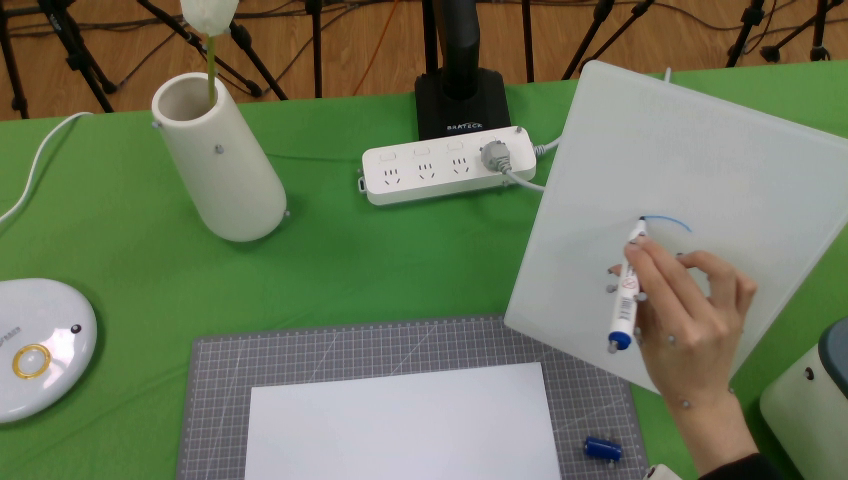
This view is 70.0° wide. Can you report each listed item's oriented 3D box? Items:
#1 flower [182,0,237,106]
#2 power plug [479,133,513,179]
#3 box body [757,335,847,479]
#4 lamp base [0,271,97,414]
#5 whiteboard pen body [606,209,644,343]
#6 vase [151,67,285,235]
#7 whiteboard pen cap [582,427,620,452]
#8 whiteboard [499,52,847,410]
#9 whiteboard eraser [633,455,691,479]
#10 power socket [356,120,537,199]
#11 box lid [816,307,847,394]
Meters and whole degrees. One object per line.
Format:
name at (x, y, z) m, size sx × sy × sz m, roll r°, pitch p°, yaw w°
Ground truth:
flower at (-0.199, -0.123, 0.573) m, size 0.038 × 0.363 × 0.044 m, roll 44°, pitch 60°, yaw 5°
power plug at (0.083, -0.093, 0.711) m, size 0.035 × 0.053 × 0.072 m, roll 0°, pitch 67°, yaw 2°
box body at (0.490, 0.207, 0.480) m, size 0.254 × 0.162 × 0.360 m, roll -21°, pitch 62°, yaw -10°
lamp base at (-0.444, 0.062, 0.581) m, size 0.178 × 0.182 × 0.160 m, roll 25°, pitch 64°, yaw 18°
whiteboard pen body at (0.155, 0.021, 0.459) m, size 0.017 × 0.017 × 0.140 m, roll 17°, pitch 47°, yaw 12°
vase at (-0.217, -0.088, 0.648) m, size 0.098 × 0.201 × 0.097 m, roll -1°, pitch 60°, yaw 3°
whiteboard pen cap at (0.169, 0.192, 0.579) m, size 0.033 × 0.018 × 0.018 m, roll 13°, pitch 61°, yaw 6°
whiteboard at (0.227, -0.023, 0.572) m, size 0.216 × 0.308 × 0.143 m, roll 24°, pitch 43°, yaw 15°
whiteboard eraser at (0.193, 0.249, 0.531) m, size 0.055 × 0.042 × 0.112 m, roll 37°, pitch 68°, yaw 21°
power socket at (0.028, -0.099, 0.742) m, size 0.227 × 0.033 × 0.071 m, roll -9°, pitch 61°, yaw -4°
box lid at (0.487, 0.167, 0.416) m, size 0.263 × 0.015 × 0.368 m, roll -21°, pitch 62°, yaw -9°
